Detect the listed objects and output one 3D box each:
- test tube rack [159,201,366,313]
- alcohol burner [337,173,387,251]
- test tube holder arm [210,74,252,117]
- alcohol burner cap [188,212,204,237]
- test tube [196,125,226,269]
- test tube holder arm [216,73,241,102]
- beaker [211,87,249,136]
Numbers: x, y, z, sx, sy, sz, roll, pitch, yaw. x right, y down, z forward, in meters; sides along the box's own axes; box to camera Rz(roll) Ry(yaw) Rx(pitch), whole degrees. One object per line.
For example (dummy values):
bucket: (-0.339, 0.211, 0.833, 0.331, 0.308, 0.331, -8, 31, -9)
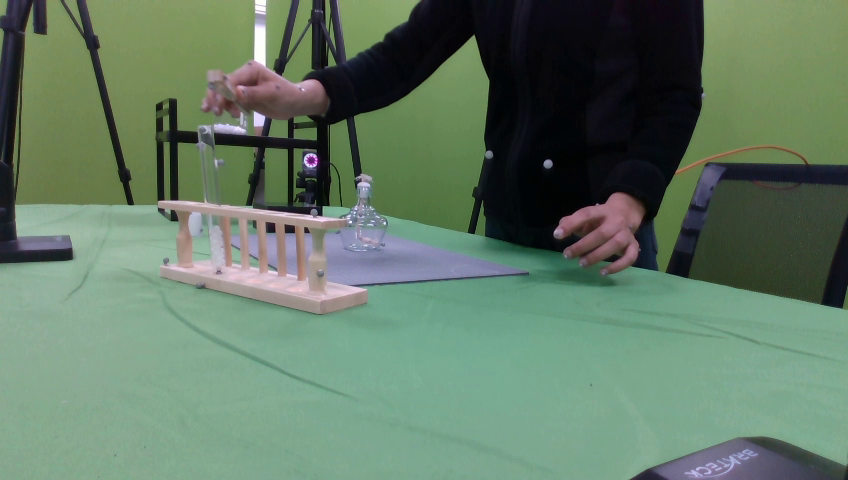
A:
test tube rack: (-0.173, 0.009, 0.624, 0.241, 0.085, 0.067, 7, 9, 34)
alcohol burner: (-0.095, -0.043, 0.926, 0.078, 0.119, 0.078, 3, 5, 0)
test tube holder arm: (-0.249, -0.186, 0.790, 0.013, 0.015, 0.178, -1, 0, -5)
alcohol burner cap: (-0.390, -0.029, 1.025, 0.034, 0.048, 0.034, 2, 8, 0)
test tube: (-0.221, -0.043, 0.629, 0.017, 0.150, 0.017, -3, 8, 1)
test tube holder arm: (-0.240, -0.187, 0.745, 0.010, 0.015, 0.088, -1, 0, -4)
beaker: (-0.413, -0.274, 1.297, 0.074, 0.100, 0.083, -5, 11, -44)
